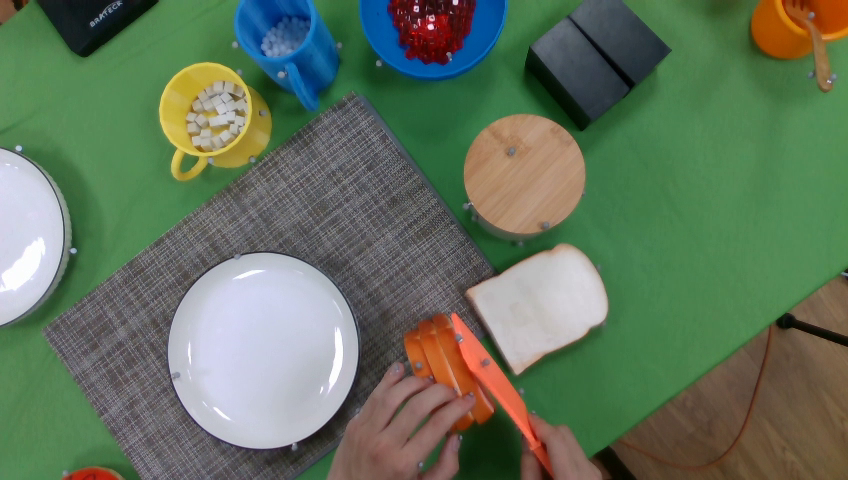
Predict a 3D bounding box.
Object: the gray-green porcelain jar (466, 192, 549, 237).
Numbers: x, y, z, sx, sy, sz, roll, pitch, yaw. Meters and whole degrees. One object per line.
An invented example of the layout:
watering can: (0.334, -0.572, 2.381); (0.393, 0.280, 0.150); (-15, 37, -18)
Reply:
gray-green porcelain jar: (0.094, -0.057, 0.605); (0.106, 0.127, 0.105); (0, 86, 4)

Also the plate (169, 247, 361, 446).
plate: (-0.168, 0.113, 0.654); (0.209, 0.038, 0.208); (0, 87, 4)

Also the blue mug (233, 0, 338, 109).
blue mug: (-0.138, -0.195, 0.638); (0.082, 0.106, 0.116); (-17, 86, 3)

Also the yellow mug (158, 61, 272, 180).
yellow mug: (-0.233, -0.122, 0.660); (0.100, 0.064, 0.131); (31, 91, 6)

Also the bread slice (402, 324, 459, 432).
bread slice: (0.006, 0.133, 0.601); (0.018, 0.134, 0.106); (-25, 82, -2)

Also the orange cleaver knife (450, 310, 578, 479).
orange cleaver knife: (0.086, 0.152, 0.568); (0.012, 0.076, 0.213); (-33, 110, 10)

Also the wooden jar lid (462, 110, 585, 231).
wooden jar lid: (0.088, -0.061, 0.543); (0.108, 0.021, 0.108); (0, 87, 1)

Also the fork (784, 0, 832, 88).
fork: (0.370, -0.202, 0.582); (0.028, 0.019, 0.206); (25, 45, -2)

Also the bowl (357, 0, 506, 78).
bowl: (0.010, -0.237, 0.644); (0.151, 0.077, 0.151); (0, 87, 4)

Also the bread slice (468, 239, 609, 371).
bread slice: (0.128, 0.063, 0.644); (0.131, 0.019, 0.104); (-30, 86, 6)

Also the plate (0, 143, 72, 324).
plate: (-0.495, -0.006, 0.686); (0.207, 0.039, 0.207); (0, 87, 4)

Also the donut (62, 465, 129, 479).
donut: (-0.359, 0.295, 0.659); (0.099, 0.048, 0.099); (0, 86, 2)
